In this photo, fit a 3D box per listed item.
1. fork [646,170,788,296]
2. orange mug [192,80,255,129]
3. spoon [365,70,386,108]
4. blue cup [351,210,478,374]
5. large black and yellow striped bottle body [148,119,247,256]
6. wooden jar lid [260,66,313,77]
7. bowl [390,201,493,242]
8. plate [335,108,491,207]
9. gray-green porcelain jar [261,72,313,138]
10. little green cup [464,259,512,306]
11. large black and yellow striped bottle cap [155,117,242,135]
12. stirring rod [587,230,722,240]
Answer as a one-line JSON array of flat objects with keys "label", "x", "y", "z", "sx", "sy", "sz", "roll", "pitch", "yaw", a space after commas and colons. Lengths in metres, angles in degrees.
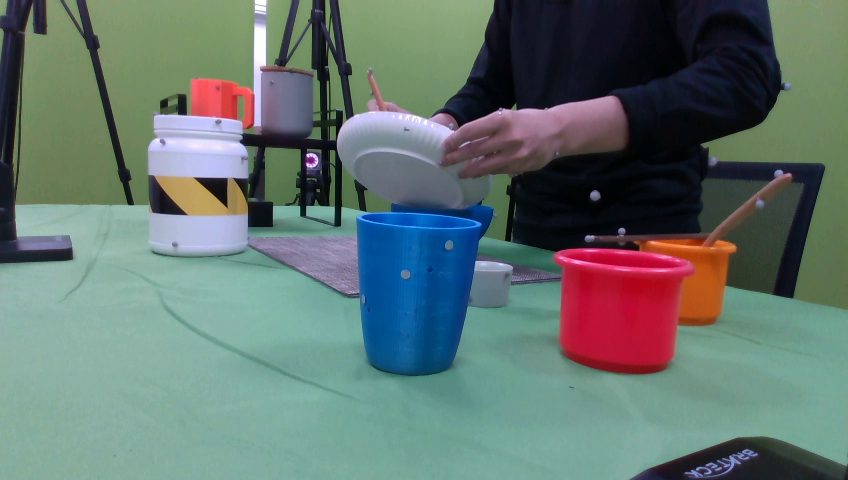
[{"label": "fork", "x": 0.256, "y": 0.004, "z": 0.543, "sx": 0.028, "sy": 0.018, "sz": 0.207, "roll": 3, "pitch": -36, "yaw": -9}, {"label": "orange mug", "x": -0.389, "y": -0.257, "z": 1.172, "sx": 0.126, "sy": 0.100, "sz": 0.083, "roll": -1, "pitch": 6, "yaw": 9}, {"label": "spoon", "x": -0.050, "y": -0.152, "z": 0.860, "sx": 0.022, "sy": 0.193, "sz": 0.041, "roll": -14, "pitch": -6, "yaw": -4}, {"label": "blue cup", "x": -0.009, "y": 0.034, "z": 0.414, "sx": 0.093, "sy": 0.100, "sz": 0.092, "roll": 4, "pitch": 8, "yaw": 0}, {"label": "large black and yellow striped bottle body", "x": -0.318, "y": -0.076, "z": 0.855, "sx": 0.131, "sy": 0.184, "sz": 0.130, "roll": 2, "pitch": 7, "yaw": 0}, {"label": "wooden jar lid", "x": -0.283, "y": -0.339, "z": 1.244, "sx": 0.108, "sy": 0.020, "sz": 0.108, "roll": 6, "pitch": 9, "yaw": -1}, {"label": "bowl", "x": 0.023, "y": -0.016, "z": 0.874, "sx": 0.151, "sy": 0.077, "sz": 0.151, "roll": 3, "pitch": 5, "yaw": 0}, {"label": "plate", "x": -0.018, "y": -0.090, "z": 0.776, "sx": 0.209, "sy": 0.038, "sz": 0.209, "roll": 15, "pitch": -22, "yaw": 6}, {"label": "gray-green porcelain jar", "x": -0.284, "y": -0.276, "z": 1.253, "sx": 0.106, "sy": 0.126, "sz": 0.106, "roll": 2, "pitch": 8, "yaw": 0}, {"label": "little green cup", "x": 0.057, "y": 0.043, "z": 0.611, "sx": 0.061, "sy": 0.038, "sz": 0.061, "roll": 3, "pitch": 8, "yaw": 0}, {"label": "large black and yellow striped bottle cap", "x": -0.313, "y": -0.159, "z": 0.845, "sx": 0.115, "sy": 0.019, "sz": 0.115, "roll": 3, "pitch": 9, "yaw": 0}, {"label": "stirring rod", "x": 0.227, "y": -0.006, "z": 0.585, "sx": 0.177, "sy": 0.006, "sz": 0.014, "roll": -2, "pitch": 7, "yaw": -28}]
